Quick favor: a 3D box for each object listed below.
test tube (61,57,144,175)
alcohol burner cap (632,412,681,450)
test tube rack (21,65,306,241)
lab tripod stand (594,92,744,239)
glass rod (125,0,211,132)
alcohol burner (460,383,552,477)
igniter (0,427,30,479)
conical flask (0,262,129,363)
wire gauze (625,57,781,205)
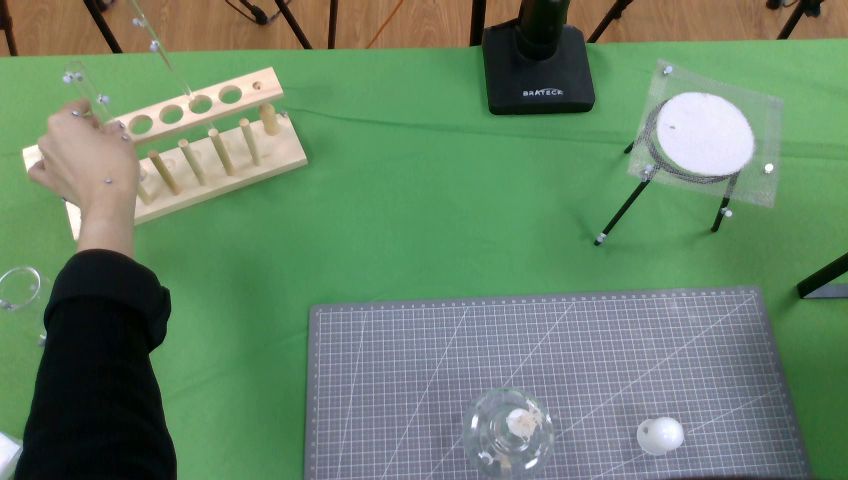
[{"bbox_3d":[-0.293,-0.109,0.563,0.017,0.151,0.017,1,60,-1],"label":"test tube"},{"bbox_3d":[0.207,0.166,0.533,0.034,0.048,0.033,1,66,-1],"label":"alcohol burner cap"},{"bbox_3d":[-0.251,-0.087,0.609,0.242,0.086,0.066,-22,68,-11],"label":"test tube rack"},{"bbox_3d":[0.238,-0.067,0.587,0.148,0.132,0.147,1,65,-2],"label":"lab tripod stand"},{"bbox_3d":[-0.228,-0.147,0.563,0.008,0.201,0.008,-2,60,5],"label":"glass rod"},{"bbox_3d":[0.070,0.152,0.496,0.078,0.120,0.077,1,65,-3],"label":"alcohol burner"},{"bbox_3d":[-0.397,0.264,0.433,0.057,0.025,0.275,24,67,19],"label":"igniter"},{"bbox_3d":[-0.317,0.058,0.524,0.075,0.123,0.075,1,66,-1],"label":"conical flask"},{"bbox_3d":[0.247,-0.096,0.527,0.121,0.011,0.124,18,68,4],"label":"wire gauze"}]
